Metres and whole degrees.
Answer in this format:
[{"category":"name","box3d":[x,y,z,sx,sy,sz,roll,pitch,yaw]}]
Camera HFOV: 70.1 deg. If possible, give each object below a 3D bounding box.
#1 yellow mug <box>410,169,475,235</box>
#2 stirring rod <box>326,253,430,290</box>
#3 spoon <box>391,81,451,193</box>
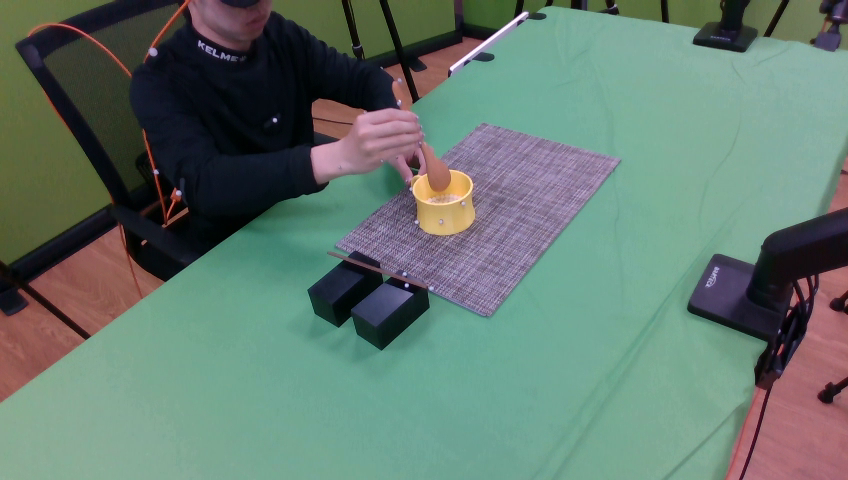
[{"category":"yellow mug","box3d":[0.022,-0.070,1.007,0.100,0.064,0.129,-36,47,-30]},{"category":"stirring rod","box3d":[-0.068,0.043,0.859,0.175,0.006,0.014,17,11,26]},{"category":"spoon","box3d":[-0.007,-0.153,0.920,0.042,0.195,0.021,-34,26,-10]}]
